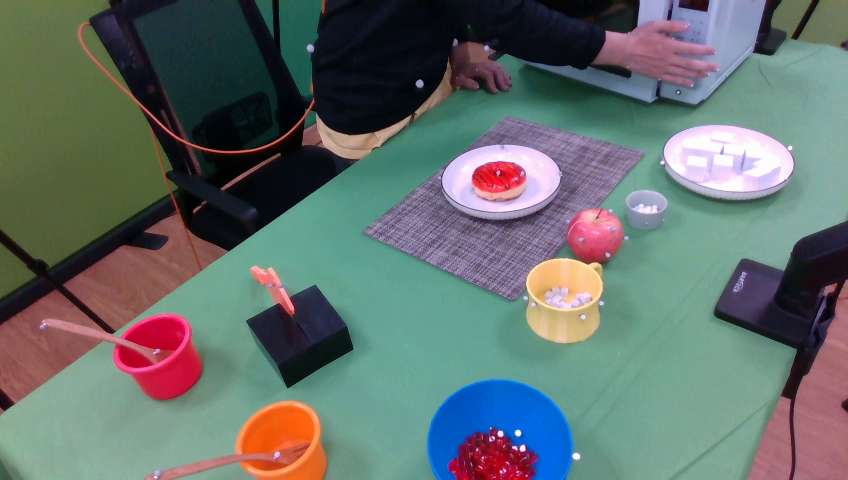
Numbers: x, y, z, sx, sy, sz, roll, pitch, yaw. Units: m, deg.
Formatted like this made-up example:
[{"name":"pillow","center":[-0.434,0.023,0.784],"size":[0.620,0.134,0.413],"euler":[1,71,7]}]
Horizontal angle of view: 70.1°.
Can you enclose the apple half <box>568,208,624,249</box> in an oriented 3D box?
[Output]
[{"name":"apple half","center":[0.259,-0.014,0.914],"size":[0.080,0.075,0.053],"euler":[0,36,15]}]

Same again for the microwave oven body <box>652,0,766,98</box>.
[{"name":"microwave oven body","center":[0.472,-0.513,1.317],"size":[0.438,0.261,0.327],"euler":[26,51,34]}]

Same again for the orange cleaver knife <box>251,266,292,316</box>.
[{"name":"orange cleaver knife","center":[-0.221,0.071,0.873],"size":[0.012,0.077,0.210],"euler":[-25,11,-21]}]

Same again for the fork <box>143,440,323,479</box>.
[{"name":"fork","center":[-0.190,0.231,0.631],"size":[0.028,0.018,0.209],"euler":[38,14,37]}]

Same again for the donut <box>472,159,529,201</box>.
[{"name":"donut","center":[0.132,-0.105,1.043],"size":[0.099,0.048,0.098],"euler":[-5,38,4]}]

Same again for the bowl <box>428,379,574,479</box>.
[{"name":"bowl","center":[0.082,0.233,0.644],"size":[0.151,0.077,0.150],"euler":[-4,40,4]}]

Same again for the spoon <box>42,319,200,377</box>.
[{"name":"spoon","center":[-0.385,0.135,0.779],"size":[0.195,0.021,0.041],"euler":[29,37,-26]}]

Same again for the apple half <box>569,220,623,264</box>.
[{"name":"apple half","center":[0.251,0.010,0.884],"size":[0.081,0.081,0.032],"euler":[3,37,12]}]

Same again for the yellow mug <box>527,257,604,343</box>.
[{"name":"yellow mug","center":[0.201,0.072,0.825],"size":[0.131,0.064,0.099],"euler":[-32,46,-27]}]

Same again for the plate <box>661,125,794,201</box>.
[{"name":"plate","center":[0.513,-0.128,1.035],"size":[0.207,0.039,0.206],"euler":[-4,40,4]}]

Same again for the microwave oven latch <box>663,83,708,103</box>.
[{"name":"microwave oven latch","center":[0.519,-0.297,1.204],"size":[0.030,0.029,0.078],"euler":[-36,47,-29]}]

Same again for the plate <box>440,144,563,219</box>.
[{"name":"plate","center":[0.134,-0.098,1.051],"size":[0.209,0.038,0.208],"euler":[-4,40,4]}]

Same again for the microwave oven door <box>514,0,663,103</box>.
[{"name":"microwave oven door","center":[0.332,-0.446,1.251],"size":[0.039,0.245,0.352],"euler":[-36,48,-28]}]

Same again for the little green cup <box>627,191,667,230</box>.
[{"name":"little green cup","center":[0.352,-0.046,0.963],"size":[0.061,0.039,0.061],"euler":[-4,40,3]}]
